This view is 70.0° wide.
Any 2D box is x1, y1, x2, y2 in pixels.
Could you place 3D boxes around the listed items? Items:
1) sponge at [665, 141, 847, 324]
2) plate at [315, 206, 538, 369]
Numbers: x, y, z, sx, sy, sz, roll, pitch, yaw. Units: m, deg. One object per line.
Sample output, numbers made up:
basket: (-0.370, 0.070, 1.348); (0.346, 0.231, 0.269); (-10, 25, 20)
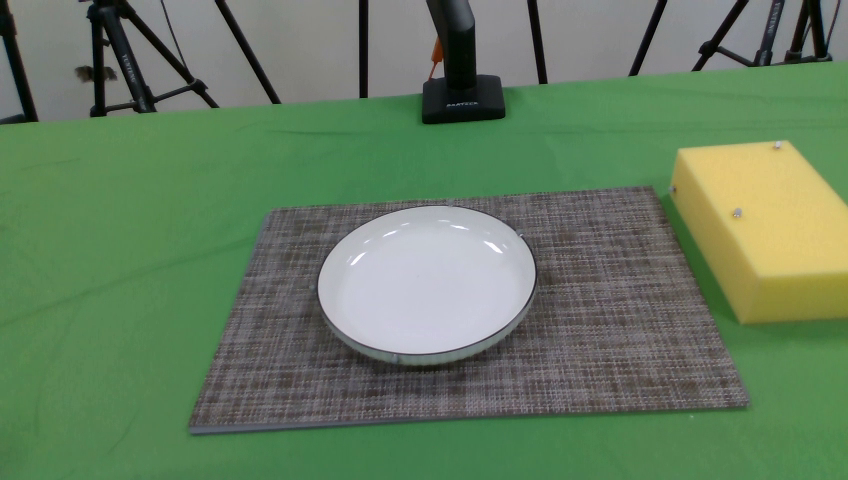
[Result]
sponge: (0.331, -0.016, 0.592); (0.118, 0.061, 0.204); (-5, 39, 2)
plate: (0.003, 0.044, 0.576); (0.207, 0.039, 0.205); (-4, 39, 3)
